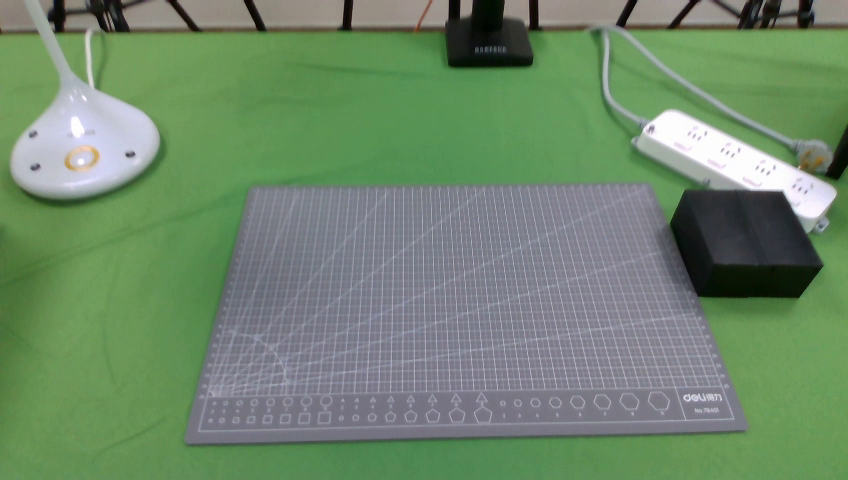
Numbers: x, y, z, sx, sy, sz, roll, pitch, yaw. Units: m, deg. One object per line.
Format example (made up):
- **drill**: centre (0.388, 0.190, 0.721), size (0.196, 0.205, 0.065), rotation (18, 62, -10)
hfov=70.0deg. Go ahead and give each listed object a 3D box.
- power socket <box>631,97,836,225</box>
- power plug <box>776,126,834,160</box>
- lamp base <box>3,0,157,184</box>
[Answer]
- **power socket**: centre (0.344, -0.094, 0.681), size (0.072, 0.033, 0.224), rotation (-35, 58, -28)
- **power plug**: centre (0.439, -0.112, 0.709), size (0.053, 0.035, 0.072), rotation (-26, 20, -28)
- **lamp base**: centre (-0.395, -0.180, 0.641), size (0.161, 0.182, 0.177), rotation (-20, 50, -17)
